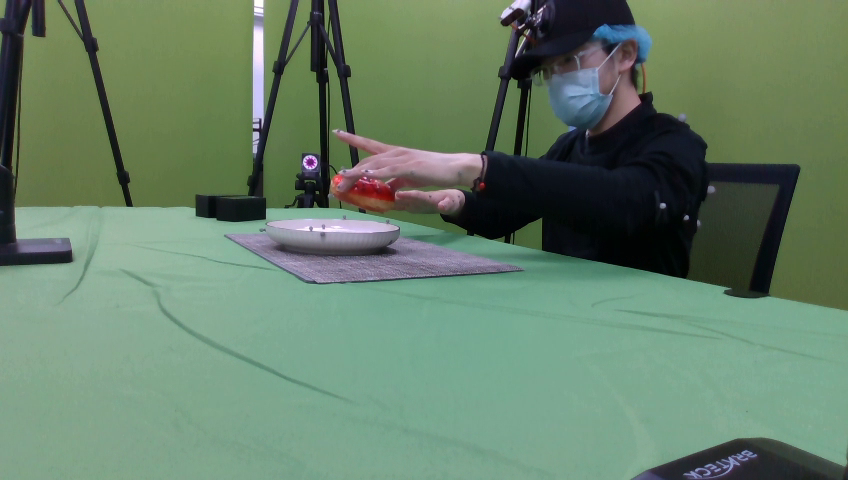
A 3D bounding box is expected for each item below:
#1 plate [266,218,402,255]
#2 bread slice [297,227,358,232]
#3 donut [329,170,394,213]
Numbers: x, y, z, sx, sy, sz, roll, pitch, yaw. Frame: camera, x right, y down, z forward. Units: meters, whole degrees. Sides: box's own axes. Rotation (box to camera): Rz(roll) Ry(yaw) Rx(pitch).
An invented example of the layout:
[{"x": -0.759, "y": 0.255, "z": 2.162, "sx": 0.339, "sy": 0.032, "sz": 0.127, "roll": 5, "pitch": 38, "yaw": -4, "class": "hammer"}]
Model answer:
[{"x": -0.138, "y": -0.006, "z": 0.941, "sx": 0.208, "sy": 0.039, "sz": 0.207, "roll": 2, "pitch": 7, "yaw": 0, "class": "plate"}, {"x": -0.142, "y": -0.004, "z": 0.940, "sx": 0.131, "sy": 0.019, "sz": 0.105, "roll": 8, "pitch": 9, "yaw": 33, "class": "bread slice"}, {"x": -0.091, "y": -0.070, "z": 0.879, "sx": 0.099, "sy": 0.048, "sz": 0.099, "roll": 19, "pitch": 11, "yaw": -3, "class": "donut"}]
